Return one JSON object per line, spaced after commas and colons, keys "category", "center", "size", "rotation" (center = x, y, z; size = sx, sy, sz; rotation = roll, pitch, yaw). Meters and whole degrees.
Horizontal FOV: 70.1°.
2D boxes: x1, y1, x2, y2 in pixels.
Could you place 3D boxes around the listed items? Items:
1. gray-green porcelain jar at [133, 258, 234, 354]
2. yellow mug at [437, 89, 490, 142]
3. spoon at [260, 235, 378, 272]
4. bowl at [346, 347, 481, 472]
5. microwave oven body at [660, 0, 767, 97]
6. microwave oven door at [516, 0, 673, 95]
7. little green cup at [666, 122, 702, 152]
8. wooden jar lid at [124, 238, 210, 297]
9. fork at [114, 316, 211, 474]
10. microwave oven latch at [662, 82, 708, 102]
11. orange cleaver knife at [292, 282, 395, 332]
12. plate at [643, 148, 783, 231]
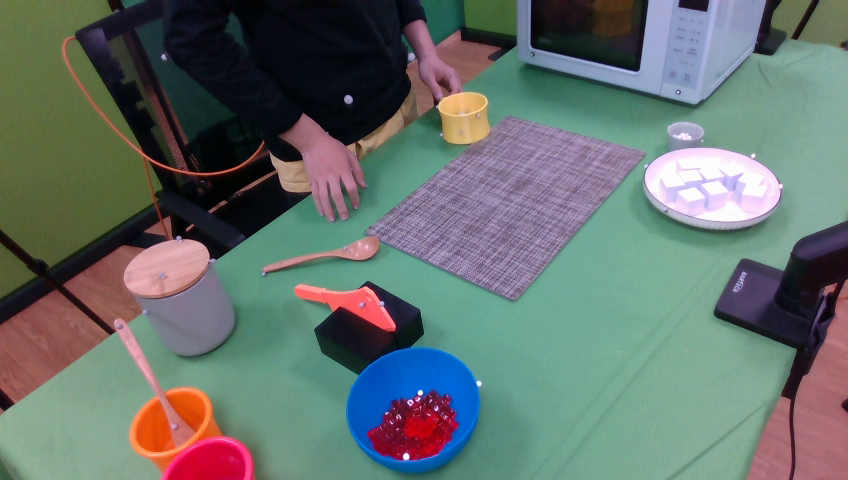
{"category": "gray-green porcelain jar", "center": [-0.328, 0.087, 0.836], "size": [0.106, 0.127, 0.105], "rotation": [-4, 41, 4]}
{"category": "yellow mug", "center": [0.071, -0.257, 1.224], "size": [0.100, 0.064, 0.129], "rotation": [-33, 44, -25]}
{"category": "spoon", "center": [-0.167, 0.024, 0.966], "size": [0.194, 0.022, 0.041], "rotation": [-10, 58, -3]}
{"category": "bowl", "center": [-0.008, 0.205, 0.691], "size": [0.151, 0.077, 0.150], "rotation": [-4, 40, 4]}
{"category": "microwave oven body", "center": [0.473, -0.516, 1.313], "size": [0.438, 0.261, 0.327], "rotation": [26, 51, 34]}
{"category": "microwave oven door", "center": [0.344, -0.458, 1.256], "size": [0.353, 0.245, 0.039], "rotation": [26, 51, 33]}
{"category": "little green cup", "center": [0.471, -0.184, 1.102], "size": [0.061, 0.039, 0.061], "rotation": [-5, 41, 5]}
{"category": "wooden jar lid", "center": [-0.334, 0.038, 0.794], "size": [0.108, 0.021, 0.108], "rotation": [-2, 40, 2]}
{"category": "fork", "center": [-0.309, 0.179, 0.708], "size": [0.028, 0.018, 0.207], "rotation": [-30, 89, -23]}
{"category": "microwave oven latch", "center": [0.517, -0.298, 1.202], "size": [0.078, 0.029, 0.030], "rotation": [27, 52, 34]}
{"category": "orange cleaver knife", "center": [-0.116, 0.091, 0.835], "size": [0.209, 0.077, 0.012], "rotation": [2, 32, 48]}
{"category": "plate", "center": [0.464, -0.080, 0.986], "size": [0.207, 0.039, 0.206], "rotation": [-4, 41, 4]}
